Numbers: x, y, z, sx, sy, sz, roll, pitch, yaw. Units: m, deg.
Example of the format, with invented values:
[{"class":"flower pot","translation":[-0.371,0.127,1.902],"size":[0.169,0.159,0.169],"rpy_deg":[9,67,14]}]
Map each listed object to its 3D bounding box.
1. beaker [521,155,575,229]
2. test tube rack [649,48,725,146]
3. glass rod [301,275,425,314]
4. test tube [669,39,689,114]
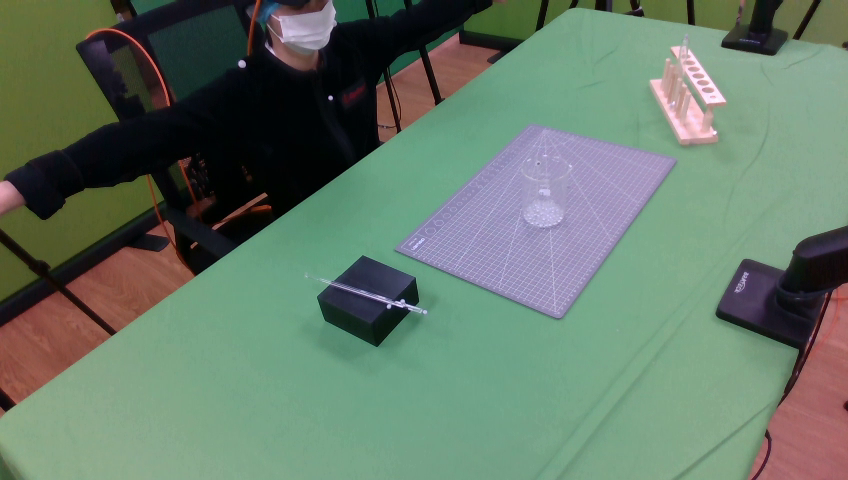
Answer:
[{"class":"beaker","translation":[0.197,-0.075,0.969],"size":[0.084,0.101,0.073],"rpy_deg":[-6,40,2]},{"class":"test tube rack","translation":[0.508,-0.285,1.186],"size":[0.067,0.085,0.241],"rpy_deg":[-4,40,6]},{"class":"glass rod","translation":[-0.089,0.074,0.833],"size":[0.198,0.008,0.008],"rpy_deg":[14,44,23]},{"class":"test tube","translation":[0.482,-0.308,1.146],"size":[0.017,0.151,0.017],"rpy_deg":[-5,42,5]}]
